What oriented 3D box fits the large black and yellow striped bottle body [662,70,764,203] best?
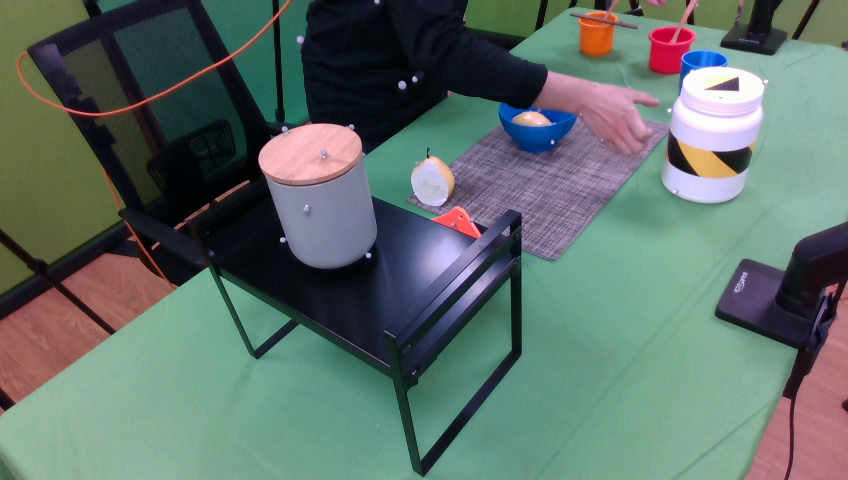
[{"bbox_3d":[0.464,-0.167,0.976,0.131,0.185,0.130,-5,41,5],"label":"large black and yellow striped bottle body"}]

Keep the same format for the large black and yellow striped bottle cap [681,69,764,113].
[{"bbox_3d":[0.453,-0.229,0.921,0.115,0.019,0.114,-4,39,4],"label":"large black and yellow striped bottle cap"}]

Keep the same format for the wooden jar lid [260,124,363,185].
[{"bbox_3d":[-0.119,-0.088,0.645,0.108,0.021,0.108,-4,40,4],"label":"wooden jar lid"}]

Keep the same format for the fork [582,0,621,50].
[{"bbox_3d":[0.446,-0.539,1.437,0.207,0.019,0.028,-57,34,12],"label":"fork"}]

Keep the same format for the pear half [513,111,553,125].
[{"bbox_3d":[0.212,-0.228,1.152,0.088,0.031,0.070,7,45,10],"label":"pear half"}]

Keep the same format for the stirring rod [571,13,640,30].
[{"bbox_3d":[0.419,-0.508,1.404,0.174,0.006,0.014,28,54,35],"label":"stirring rod"}]

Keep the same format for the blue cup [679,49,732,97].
[{"bbox_3d":[0.545,-0.310,1.194,0.092,0.100,0.092,-3,41,3],"label":"blue cup"}]

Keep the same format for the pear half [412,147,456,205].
[{"bbox_3d":[0.019,-0.120,1.042,0.076,0.110,0.056,11,44,16],"label":"pear half"}]

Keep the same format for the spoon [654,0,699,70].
[{"bbox_3d":[0.567,-0.463,1.337,0.041,0.022,0.193,30,97,38],"label":"spoon"}]

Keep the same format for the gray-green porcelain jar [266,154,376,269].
[{"bbox_3d":[-0.112,-0.039,0.685,0.106,0.127,0.105,-4,40,4],"label":"gray-green porcelain jar"}]

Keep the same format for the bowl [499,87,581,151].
[{"bbox_3d":[0.220,-0.223,1.155,0.151,0.077,0.150,-4,40,4],"label":"bowl"}]

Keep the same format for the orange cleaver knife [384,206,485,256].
[{"bbox_3d":[0.012,-0.010,0.942,0.012,0.077,0.210,-37,19,-35],"label":"orange cleaver knife"}]
